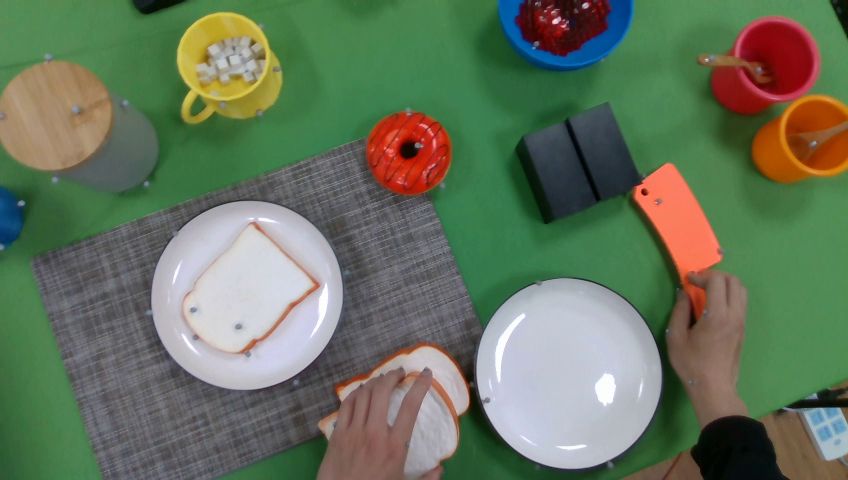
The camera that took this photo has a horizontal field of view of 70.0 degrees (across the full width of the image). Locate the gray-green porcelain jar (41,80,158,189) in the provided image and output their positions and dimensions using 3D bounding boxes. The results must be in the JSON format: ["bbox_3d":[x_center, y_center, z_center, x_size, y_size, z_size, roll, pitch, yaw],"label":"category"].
[{"bbox_3d":[-0.353,-0.113,0.640,0.106,0.126,0.105,0,84,-2],"label":"gray-green porcelain jar"}]

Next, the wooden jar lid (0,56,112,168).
[{"bbox_3d":[-0.351,-0.120,0.579,0.108,0.021,0.108,0,83,-1],"label":"wooden jar lid"}]

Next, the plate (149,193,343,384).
[{"bbox_3d":[-0.192,0.053,0.671,0.208,0.039,0.207,0,85,-2],"label":"plate"}]

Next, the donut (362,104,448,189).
[{"bbox_3d":[-0.021,-0.106,0.689,0.099,0.048,0.099,0,85,-3],"label":"donut"}]

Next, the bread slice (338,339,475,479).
[{"bbox_3d":[-0.007,0.170,0.637,0.134,0.018,0.107,-34,91,-30],"label":"bread slice"}]

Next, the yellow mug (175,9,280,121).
[{"bbox_3d":[-0.229,-0.186,0.682,0.100,0.064,0.130,37,85,2],"label":"yellow mug"}]

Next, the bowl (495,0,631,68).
[{"bbox_3d":[0.151,-0.261,0.697,0.151,0.077,0.151,0,85,-2],"label":"bowl"}]

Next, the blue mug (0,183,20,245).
[{"bbox_3d":[-0.510,-0.023,0.636,0.082,0.106,0.116,43,85,3],"label":"blue mug"}]

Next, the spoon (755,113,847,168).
[{"bbox_3d":[0.462,-0.133,0.661,0.022,0.193,0.041,-16,79,-48],"label":"spoon"}]

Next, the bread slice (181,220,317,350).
[{"bbox_3d":[-0.200,0.058,0.672,0.105,0.019,0.131,42,83,3],"label":"bread slice"}]

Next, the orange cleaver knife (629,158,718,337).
[{"bbox_3d":[0.305,0.006,0.704,0.077,0.012,0.210,-19,82,-15],"label":"orange cleaver knife"}]

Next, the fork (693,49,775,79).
[{"bbox_3d":[0.342,-0.195,0.663,0.208,0.018,0.028,-10,83,-45],"label":"fork"}]

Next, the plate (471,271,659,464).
[{"bbox_3d":[0.154,0.140,0.679,0.209,0.038,0.208,0,85,-2],"label":"plate"}]
